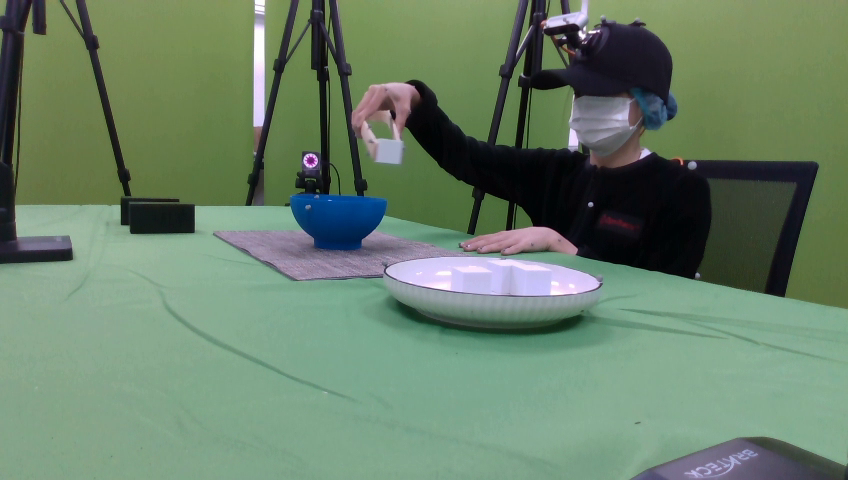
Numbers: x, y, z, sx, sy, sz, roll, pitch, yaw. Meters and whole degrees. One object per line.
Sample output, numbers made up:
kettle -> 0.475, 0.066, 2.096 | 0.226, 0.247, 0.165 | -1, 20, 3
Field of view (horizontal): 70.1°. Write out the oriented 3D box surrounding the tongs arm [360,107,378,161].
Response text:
tongs arm -> -0.081, -0.181, 0.991 | 0.051, 0.026, 0.383 | 1, 19, -11

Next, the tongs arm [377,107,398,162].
tongs arm -> -0.059, -0.180, 0.994 | 0.028, 0.028, 0.386 | -1, 20, -6

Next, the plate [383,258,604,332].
plate -> 0.064, 0.051, 0.582 | 0.209, 0.038, 0.209 | 3, 7, 0

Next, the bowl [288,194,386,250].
bowl -> -0.135, -0.028, 0.936 | 0.151, 0.077, 0.151 | 3, 7, 0
